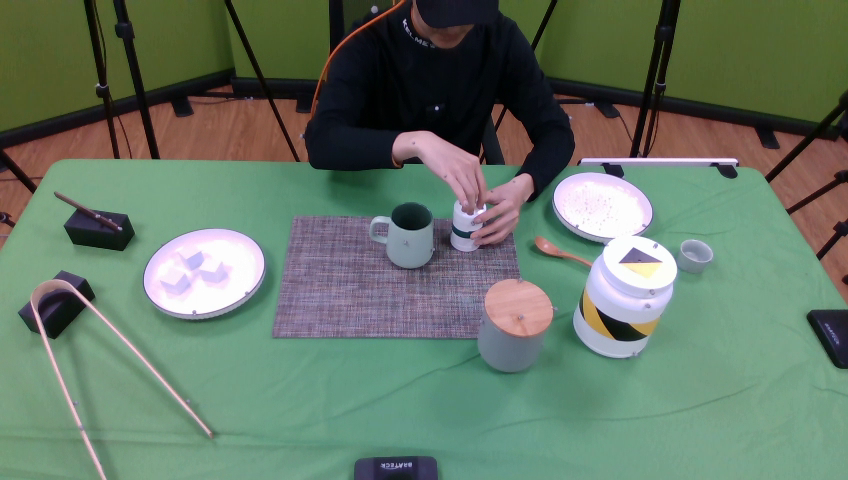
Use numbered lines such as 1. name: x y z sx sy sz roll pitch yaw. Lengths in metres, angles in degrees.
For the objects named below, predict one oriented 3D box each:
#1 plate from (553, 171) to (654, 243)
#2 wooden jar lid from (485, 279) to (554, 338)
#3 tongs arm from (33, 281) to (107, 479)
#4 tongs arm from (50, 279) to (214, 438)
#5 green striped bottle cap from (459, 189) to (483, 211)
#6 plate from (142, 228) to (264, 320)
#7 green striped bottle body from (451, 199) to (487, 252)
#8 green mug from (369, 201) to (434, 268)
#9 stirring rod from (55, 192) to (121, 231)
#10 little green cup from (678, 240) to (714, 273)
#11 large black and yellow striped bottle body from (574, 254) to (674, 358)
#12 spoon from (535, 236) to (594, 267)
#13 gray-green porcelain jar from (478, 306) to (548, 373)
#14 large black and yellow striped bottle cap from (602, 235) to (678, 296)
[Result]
1. plate: 0.374 -0.066 1.275 0.209 0.038 0.208 2 46 -2
2. wooden jar lid: 0.147 0.108 0.940 0.108 0.021 0.107 4 47 -4
3. tongs arm: -0.517 0.214 0.910 0.051 0.026 0.383 -29 63 -27
4. tongs arm: -0.459 0.178 0.949 0.386 0.028 0.028 37 60 17
5. green striped bottle cap: 0.088 -0.075 1.129 0.044 0.020 0.044 3 45 -3
6. plate: -0.394 0.064 1.095 0.208 0.039 0.206 2 46 -2
7. green striped bottle body: 0.087 -0.039 1.166 0.063 0.120 0.063 2 46 -2
8. green mug: -0.042 -0.011 1.141 0.125 0.105 0.092 8 47 5
9. stirring rod: -0.632 -0.055 1.138 0.175 0.014 0.006 24 50 19
10. little green cup: 0.530 0.034 1.190 0.061 0.039 0.061 1 46 -1
11. large black and yellow striped bottle body: 0.335 0.096 1.014 0.131 0.185 0.130 2 46 -2
12. spoon: 0.303 0.040 1.178 0.193 0.022 0.041 25 30 19
13. gray-green porcelain jar: 0.144 0.148 0.989 0.106 0.127 0.105 2 50 -2
14. large black and yellow striped bottle cap: 0.340 0.037 0.955 0.115 0.019 0.114 2 47 -1
